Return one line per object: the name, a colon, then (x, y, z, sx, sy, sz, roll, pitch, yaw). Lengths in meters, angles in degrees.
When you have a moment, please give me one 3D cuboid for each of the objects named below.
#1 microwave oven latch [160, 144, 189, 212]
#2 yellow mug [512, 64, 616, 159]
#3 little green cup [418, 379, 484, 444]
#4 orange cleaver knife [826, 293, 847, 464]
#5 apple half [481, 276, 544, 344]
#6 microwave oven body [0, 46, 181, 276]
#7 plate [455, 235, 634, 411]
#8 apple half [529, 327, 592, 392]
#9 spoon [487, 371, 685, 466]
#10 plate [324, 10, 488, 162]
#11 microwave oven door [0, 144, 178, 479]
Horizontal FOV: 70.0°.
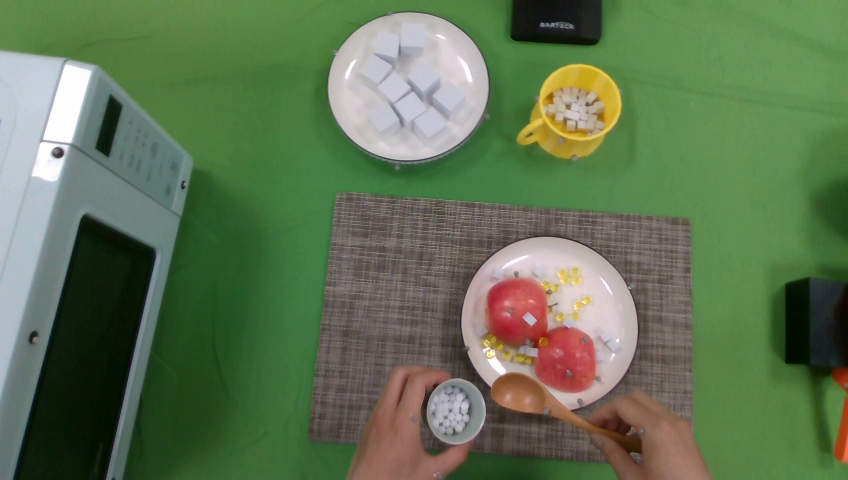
microwave oven latch: (-0.309, -0.077, 0.738, 0.030, 0.029, 0.079, 9, 79, 1)
yellow mug: (0.169, -0.153, 0.762, 0.131, 0.064, 0.099, -27, 79, -5)
little green cup: (0.025, 0.169, 0.602, 0.062, 0.038, 0.061, 9, 77, -38)
orange cleaver knife: (0.483, 0.148, 0.690, 0.012, 0.077, 0.212, 6, 101, 5)
apple half: (0.104, 0.080, 0.706, 0.074, 0.053, 0.080, 2, 78, 3)
microwave oven body: (-0.481, 0.053, 0.611, 0.326, 0.261, 0.440, 8, 79, 1)
plate: (0.140, 0.098, 0.718, 0.209, 0.038, 0.208, 0, 79, 0)
apple half: (0.161, 0.138, 0.704, 0.081, 0.033, 0.081, 0, 75, 1)
spoon: (0.152, 0.174, 0.574, 0.193, 0.021, 0.042, 22, 100, 12)
plate: (-0.023, -0.195, 0.784, 0.208, 0.039, 0.206, 0, 78, 0)
microwave oven door: (-0.342, 0.113, 0.594, 0.039, 0.245, 0.354, 7, 78, 2)
